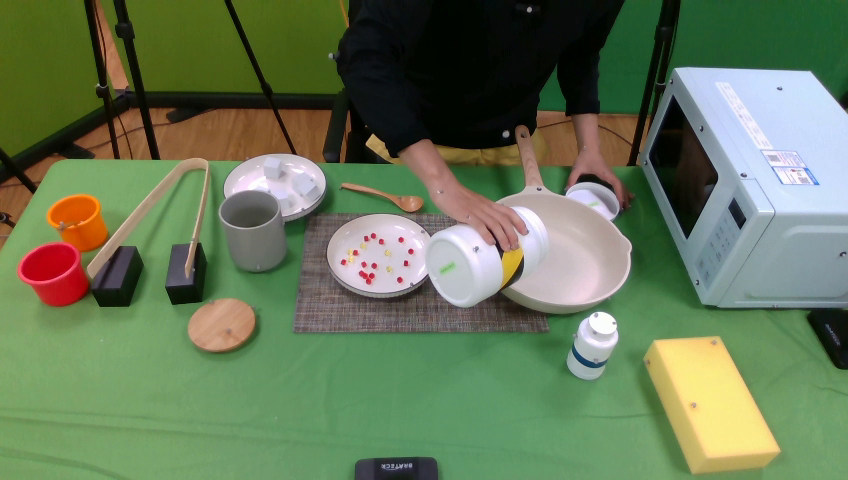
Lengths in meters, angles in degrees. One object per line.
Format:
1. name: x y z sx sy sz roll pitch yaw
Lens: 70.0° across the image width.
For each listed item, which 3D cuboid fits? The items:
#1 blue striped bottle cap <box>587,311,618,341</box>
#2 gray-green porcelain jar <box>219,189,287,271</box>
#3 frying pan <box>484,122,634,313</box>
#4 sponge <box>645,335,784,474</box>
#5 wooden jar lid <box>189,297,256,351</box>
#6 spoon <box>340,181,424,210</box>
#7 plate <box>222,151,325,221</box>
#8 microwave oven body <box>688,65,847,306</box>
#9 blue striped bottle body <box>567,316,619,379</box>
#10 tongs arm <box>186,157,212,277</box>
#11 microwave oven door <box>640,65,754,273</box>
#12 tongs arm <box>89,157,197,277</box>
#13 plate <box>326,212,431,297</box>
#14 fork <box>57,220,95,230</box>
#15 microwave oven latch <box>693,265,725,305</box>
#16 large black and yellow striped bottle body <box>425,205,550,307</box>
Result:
1. blue striped bottle cap: 0.279 0.134 0.947 0.044 0.021 0.044 2 45 -2
2. gray-green porcelain jar: -0.310 -0.014 1.113 0.106 0.127 0.105 2 46 -2
3. frying pan: 0.235 -0.061 1.207 0.307 0.103 0.484 2 55 -6
4. sponge: 0.449 0.253 0.956 0.118 0.061 0.205 -4 46 -7
5. wooden jar lid: -0.342 0.145 1.033 0.108 0.021 0.107 2 45 -2
6. spoon: -0.090 -0.100 1.282 0.193 0.022 0.041 18 64 13
7. plate: -0.310 -0.106 1.262 0.208 0.039 0.206 2 47 -2
8. microwave oven body: 0.669 -0.111 1.176 0.326 0.261 0.439 0 46 -3
9. blue striped bottle body: 0.276 0.168 0.984 0.063 0.121 0.062 2 46 -2
10. tongs arm: -0.445 -0.058 1.168 0.051 0.026 0.382 -4 37 -6
11. microwave oven door: 0.523 -0.147 1.193 0.039 0.245 0.353 0 47 -3
12. tongs arm: -0.530 -0.058 1.163 0.028 0.028 0.385 1 36 7
13. plate: -0.080 0.030 1.143 0.209 0.038 0.208 2 46 -2
14. fork: -0.624 -0.027 1.087 0.028 0.207 0.018 -3 92 -17
15. microwave oven latch: 0.523 0.082 1.116 0.030 0.029 0.078 2 46 -1
16. large black and yellow striped bottle body: 0.109 0.019 1.003 0.184 0.131 0.130 -23 52 -34
